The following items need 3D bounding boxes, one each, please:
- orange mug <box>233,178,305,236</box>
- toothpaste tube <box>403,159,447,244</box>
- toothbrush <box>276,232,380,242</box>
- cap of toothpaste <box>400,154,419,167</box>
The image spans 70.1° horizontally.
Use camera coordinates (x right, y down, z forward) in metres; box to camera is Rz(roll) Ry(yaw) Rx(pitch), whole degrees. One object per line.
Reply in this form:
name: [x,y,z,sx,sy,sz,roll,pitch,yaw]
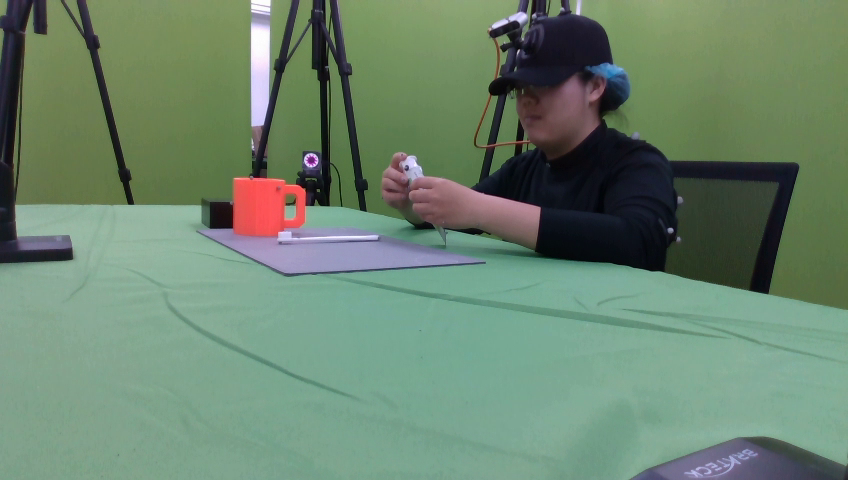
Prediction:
orange mug: [-0.273,-0.061,1.067,0.127,0.101,0.083,-5,10,-24]
toothpaste tube: [0.005,-0.072,1.047,0.034,0.164,0.055,-24,-18,-2]
toothbrush: [-0.153,-0.005,0.990,0.183,0.016,0.014,0,-4,-33]
cap of toothpaste: [-0.025,-0.139,1.074,0.037,0.011,0.037,-22,-21,-8]
